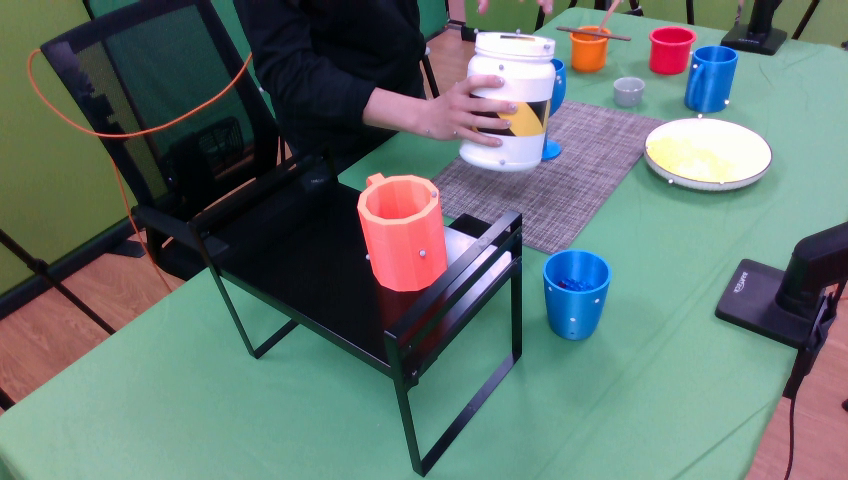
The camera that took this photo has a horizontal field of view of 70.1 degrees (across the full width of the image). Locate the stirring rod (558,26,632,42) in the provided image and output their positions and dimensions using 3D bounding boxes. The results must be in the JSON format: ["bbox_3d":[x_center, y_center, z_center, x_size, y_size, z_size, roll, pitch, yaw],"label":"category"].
[{"bbox_3d":[0.381,-0.462,1.356,0.175,0.006,0.014,22,48,30],"label":"stirring rod"}]

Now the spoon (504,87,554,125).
[{"bbox_3d":[0.227,-0.285,1.269,0.041,0.022,0.194,2,36,45],"label":"spoon"}]

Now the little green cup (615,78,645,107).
[{"bbox_3d":[0.426,-0.306,1.257,0.061,0.039,0.061,-4,40,4],"label":"little green cup"}]

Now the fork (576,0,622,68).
[{"bbox_3d":[0.409,-0.484,1.381,0.028,0.019,0.207,37,101,45],"label":"fork"}]

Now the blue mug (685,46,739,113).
[{"bbox_3d":[0.556,-0.310,1.190,0.117,0.106,0.081,-32,46,-25],"label":"blue mug"}]

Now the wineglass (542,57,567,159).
[{"bbox_3d":[0.221,-0.237,1.097,0.074,0.173,0.073,-4,41,4],"label":"wineglass"}]

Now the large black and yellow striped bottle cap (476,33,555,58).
[{"bbox_3d":[0.134,-0.286,0.886,0.115,0.019,0.114,5,26,-2],"label":"large black and yellow striped bottle cap"}]

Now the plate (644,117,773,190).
[{"bbox_3d":[0.495,-0.149,1.063,0.209,0.038,0.208,-5,40,4],"label":"plate"}]

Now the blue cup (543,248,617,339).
[{"bbox_3d":[0.199,0.076,0.797,0.092,0.100,0.092,-4,39,4],"label":"blue cup"}]

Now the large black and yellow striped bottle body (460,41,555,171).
[{"bbox_3d":[0.127,-0.210,0.920,0.131,0.184,0.130,4,25,-1],"label":"large black and yellow striped bottle body"}]

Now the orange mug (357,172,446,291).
[{"bbox_3d":[-0.030,-0.019,0.668,0.084,0.101,0.125,-23,47,-16],"label":"orange mug"}]
